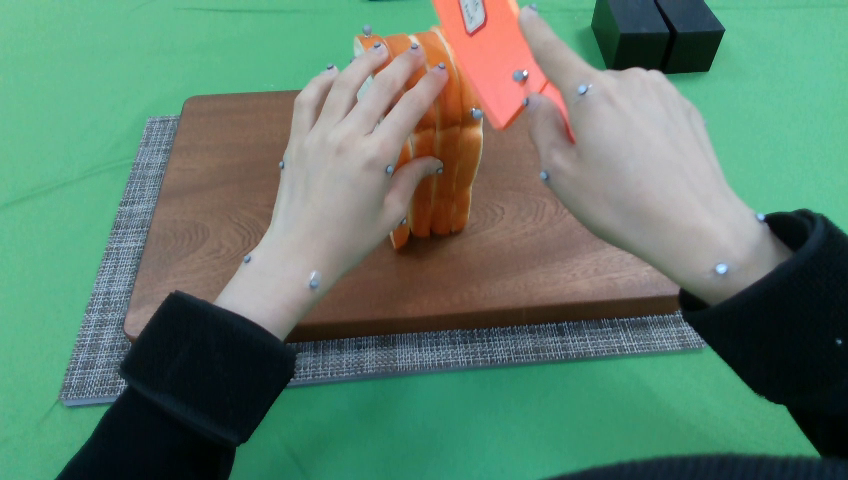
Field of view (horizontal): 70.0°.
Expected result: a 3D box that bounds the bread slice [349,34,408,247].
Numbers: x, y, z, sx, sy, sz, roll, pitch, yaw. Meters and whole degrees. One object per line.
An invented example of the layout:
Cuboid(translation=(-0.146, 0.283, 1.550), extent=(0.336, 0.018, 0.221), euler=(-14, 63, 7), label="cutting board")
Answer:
Cuboid(translation=(-0.034, -0.079, 0.442), extent=(0.018, 0.135, 0.105), euler=(-13, 46, -13), label="bread slice")

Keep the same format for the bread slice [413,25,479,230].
Cuboid(translation=(0.015, -0.087, 0.450), extent=(0.019, 0.132, 0.103), euler=(-9, 51, -14), label="bread slice")

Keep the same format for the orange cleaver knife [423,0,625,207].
Cuboid(translation=(0.045, -0.099, 0.349), extent=(0.012, 0.077, 0.210), euler=(-15, 69, -28), label="orange cleaver knife")
